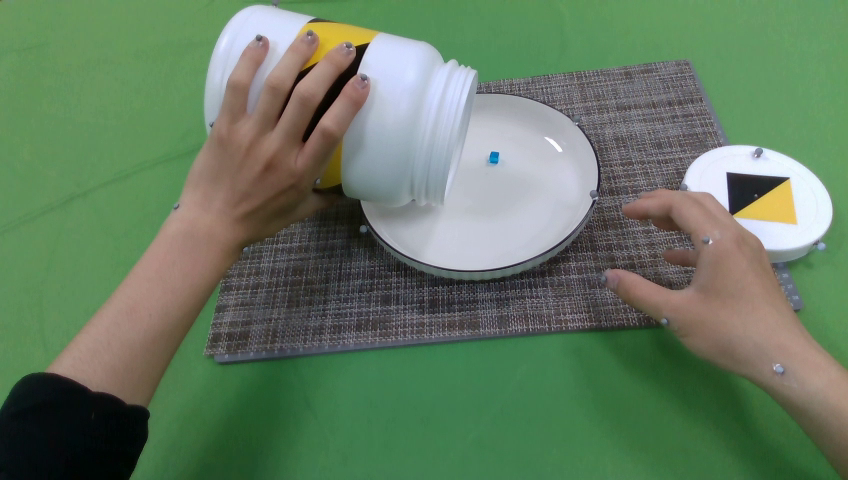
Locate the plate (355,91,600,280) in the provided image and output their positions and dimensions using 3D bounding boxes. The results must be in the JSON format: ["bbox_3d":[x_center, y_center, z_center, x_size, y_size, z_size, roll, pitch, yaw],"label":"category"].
[{"bbox_3d":[0.045,-0.048,0.527,0.207,0.039,0.205,-4,53,6],"label":"plate"}]

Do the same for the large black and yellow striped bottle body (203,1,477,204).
[{"bbox_3d":[-0.059,-0.103,0.478,0.184,0.132,0.130,15,56,4],"label":"large black and yellow striped bottle body"}]

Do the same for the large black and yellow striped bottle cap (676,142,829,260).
[{"bbox_3d":[0.268,-0.035,0.498,0.115,0.019,0.114,-2,55,3],"label":"large black and yellow striped bottle cap"}]
